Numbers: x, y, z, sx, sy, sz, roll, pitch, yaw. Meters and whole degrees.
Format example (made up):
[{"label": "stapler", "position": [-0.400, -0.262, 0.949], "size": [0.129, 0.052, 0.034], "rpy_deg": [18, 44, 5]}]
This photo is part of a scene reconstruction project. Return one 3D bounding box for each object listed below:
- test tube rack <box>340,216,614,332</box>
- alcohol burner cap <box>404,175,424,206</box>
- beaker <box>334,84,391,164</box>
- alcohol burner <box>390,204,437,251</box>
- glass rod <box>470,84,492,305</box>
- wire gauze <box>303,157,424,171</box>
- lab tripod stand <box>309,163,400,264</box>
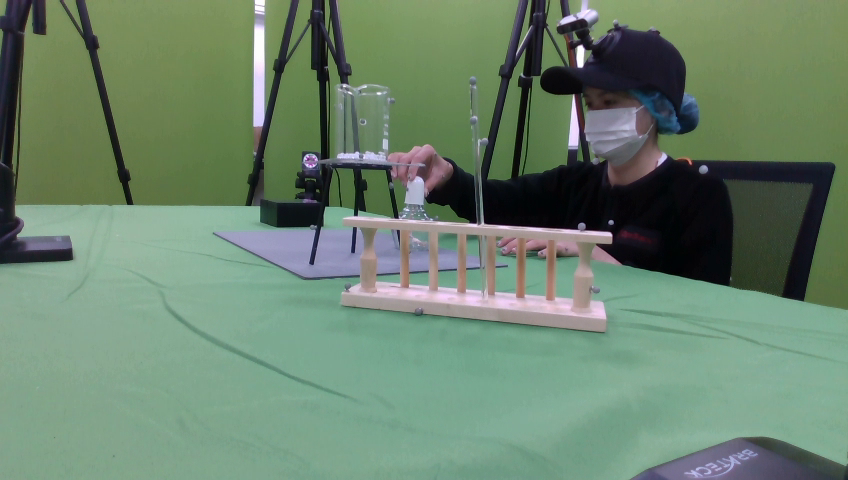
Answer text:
[{"label": "test tube rack", "position": [0.048, 0.026, 0.568], "size": [0.242, 0.085, 0.067], "rpy_deg": [4, 8, 13]}, {"label": "alcohol burner cap", "position": [-0.015, -0.078, 0.951], "size": [0.034, 0.048, 0.034], "rpy_deg": [4, 3, 0]}, {"label": "beaker", "position": [-0.082, -0.149, 0.791], "size": [0.074, 0.100, 0.084], "rpy_deg": [2, 5, 4]}, {"label": "alcohol burner", "position": [-0.016, -0.042, 0.955], "size": [0.078, 0.119, 0.078], "rpy_deg": [4, 6, 0]}, {"label": "glass rod", "position": [0.051, -0.036, 0.535], "size": [0.008, 0.199, 0.008], "rpy_deg": [-5, 10, 1]}, {"label": "wire gauze", "position": [-0.082, -0.101, 0.799], "size": [0.126, 0.011, 0.121], "rpy_deg": [1, 7, -30]}, {"label": "lab tripod stand", "position": [-0.091, -0.037, 0.813], "size": [0.148, 0.131, 0.148], "rpy_deg": [1, 6, 0]}]
